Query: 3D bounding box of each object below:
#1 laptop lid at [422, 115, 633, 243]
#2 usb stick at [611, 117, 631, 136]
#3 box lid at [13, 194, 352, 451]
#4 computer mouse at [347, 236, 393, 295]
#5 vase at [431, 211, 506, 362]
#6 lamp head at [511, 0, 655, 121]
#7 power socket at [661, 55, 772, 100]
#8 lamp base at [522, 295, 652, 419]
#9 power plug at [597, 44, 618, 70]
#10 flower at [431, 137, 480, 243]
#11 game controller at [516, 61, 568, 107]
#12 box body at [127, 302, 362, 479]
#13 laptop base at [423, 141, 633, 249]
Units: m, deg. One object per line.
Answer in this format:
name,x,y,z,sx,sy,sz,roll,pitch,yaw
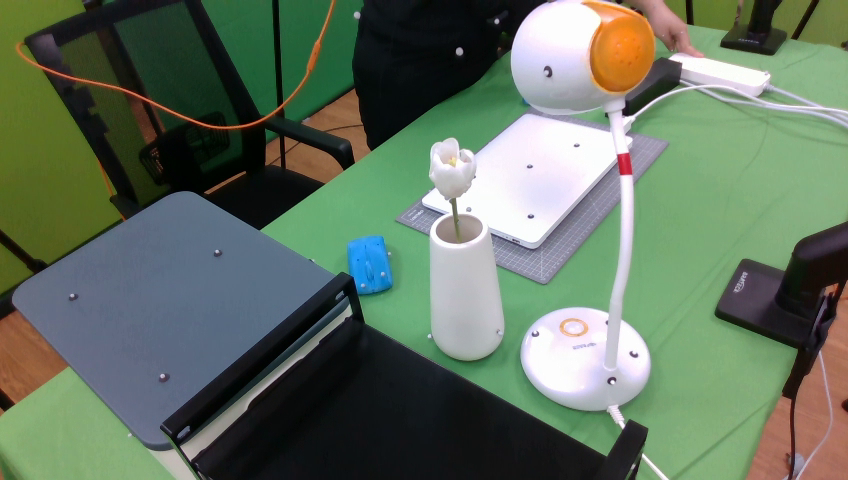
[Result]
laptop lid,0.190,-0.126,1.081,0.239,0.013,0.358,23,49,35
usb stick,0.370,-0.207,1.148,0.021,0.027,0.059,25,55,32
box lid,-0.291,0.067,0.717,0.368,0.015,0.264,25,50,33
computer mouse,-0.086,0.035,0.936,0.063,0.041,0.116,-8,44,-5
vase,0.054,0.062,0.757,0.098,0.201,0.097,-3,40,3
lamp head,0.156,-0.168,0.563,0.113,0.113,0.122,-18,23,-12
power socket,0.615,-0.348,1.284,0.225,0.033,0.072,30,53,35
lamp base,0.201,0.095,0.710,0.161,0.181,0.178,-16,43,-10
power plug,0.431,-0.423,1.416,0.035,0.072,0.053,-21,-3,33
flower,0.041,0.010,0.691,0.044,0.363,0.038,14,63,13
game controller,0.260,-0.352,1.336,0.097,0.052,0.154,-3,40,2
box body,-0.285,0.123,0.766,0.361,0.161,0.255,25,49,33
laptop base,0.193,-0.117,1.087,0.233,0.023,0.355,21,48,34
